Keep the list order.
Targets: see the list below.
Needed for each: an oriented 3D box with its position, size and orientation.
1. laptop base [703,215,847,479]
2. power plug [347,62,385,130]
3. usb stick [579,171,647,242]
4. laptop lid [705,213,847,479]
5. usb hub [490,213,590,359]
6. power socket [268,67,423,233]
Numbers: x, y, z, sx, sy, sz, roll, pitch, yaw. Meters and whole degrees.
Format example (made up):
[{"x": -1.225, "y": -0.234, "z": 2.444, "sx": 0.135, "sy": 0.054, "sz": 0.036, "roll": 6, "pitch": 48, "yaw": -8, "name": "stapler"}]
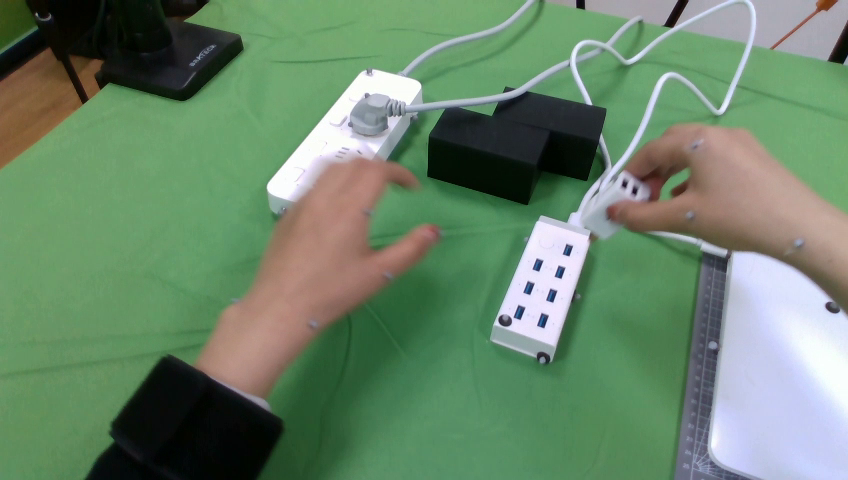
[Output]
[{"x": 0.387, "y": 0.116, "z": 0.427, "sx": 0.353, "sy": 0.023, "sz": 0.234, "roll": 18, "pitch": 55, "yaw": 13, "name": "laptop base"}, {"x": -0.053, "y": -0.132, "z": 0.586, "sx": 0.035, "sy": 0.053, "sz": 0.072, "roll": 13, "pitch": 43, "yaw": -2, "name": "power plug"}, {"x": 0.132, "y": -0.021, "z": 0.439, "sx": 0.027, "sy": 0.059, "sz": 0.021, "roll": 27, "pitch": 50, "yaw": -5, "name": "usb stick"}, {"x": 0.387, "y": 0.109, "z": 0.417, "sx": 0.355, "sy": 0.013, "sz": 0.240, "roll": 19, "pitch": 54, "yaw": 14, "name": "laptop lid"}, {"x": 0.096, "y": 0.032, "z": 0.484, "sx": 0.049, "sy": 0.025, "sz": 0.124, "roll": 18, "pitch": 51, "yaw": 15, "name": "usb hub"}, {"x": -0.069, "y": -0.096, "z": 0.583, "sx": 0.072, "sy": 0.033, "sz": 0.225, "roll": 19, "pitch": 51, "yaw": 12, "name": "power socket"}]
